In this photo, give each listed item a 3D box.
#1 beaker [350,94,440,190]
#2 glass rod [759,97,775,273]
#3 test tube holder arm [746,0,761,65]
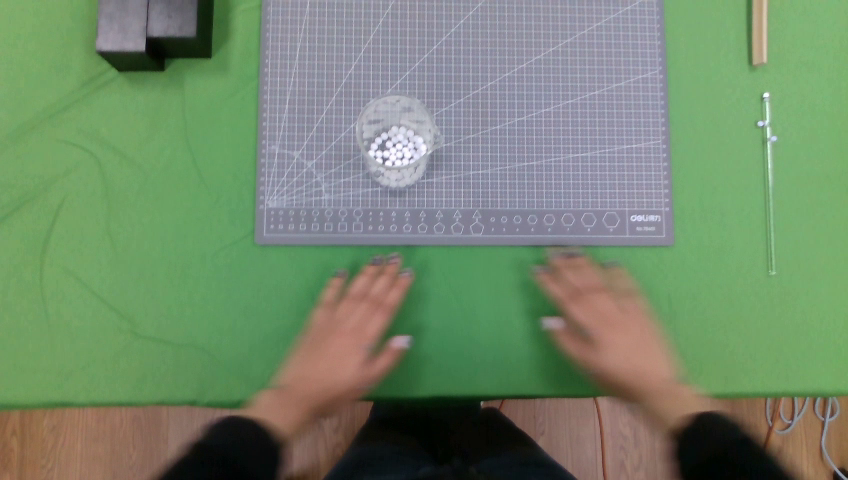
[{"bbox_3d":[-0.028,-0.093,0.610,0.084,0.100,0.074,9,83,-1],"label":"beaker"},{"bbox_3d":[0.380,-0.063,0.672,0.008,0.008,0.199,1,83,-2],"label":"glass rod"},{"bbox_3d":[0.378,-0.287,0.692,0.013,0.015,0.178,10,82,-30],"label":"test tube holder arm"}]
